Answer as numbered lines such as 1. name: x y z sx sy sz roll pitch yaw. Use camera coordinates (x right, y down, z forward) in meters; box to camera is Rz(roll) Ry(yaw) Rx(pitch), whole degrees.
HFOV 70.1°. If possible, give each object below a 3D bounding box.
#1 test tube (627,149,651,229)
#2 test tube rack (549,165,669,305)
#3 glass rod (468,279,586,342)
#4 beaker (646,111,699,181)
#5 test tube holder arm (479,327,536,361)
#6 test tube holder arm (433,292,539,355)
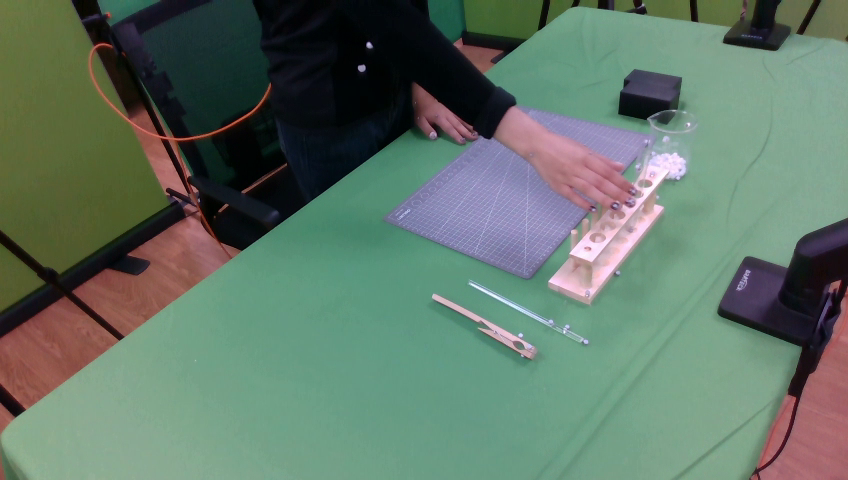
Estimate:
1. test tube: 0.312 -0.071 0.881 0.017 0.151 0.017 -5 47 6
2. test tube rack: 0.279 -0.018 0.902 0.066 0.085 0.243 24 50 33
3. glass rod: 0.140 0.096 0.853 0.198 0.008 0.008 27 52 35
4. beaker: 0.417 -0.160 1.032 0.083 0.101 0.074 25 51 35
5. test tube holder arm: 0.110 0.135 0.805 0.087 0.015 0.010 29 84 36
6. test tube holder arm: 0.081 0.113 0.832 0.177 0.015 0.013 28 84 36
